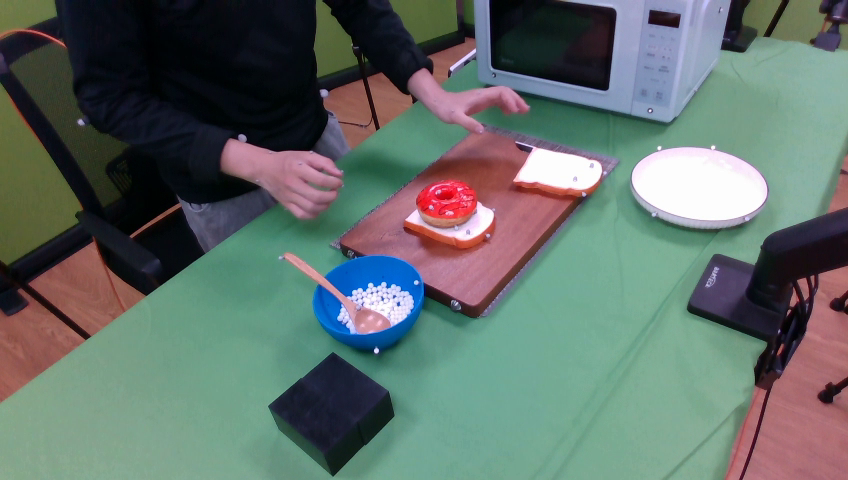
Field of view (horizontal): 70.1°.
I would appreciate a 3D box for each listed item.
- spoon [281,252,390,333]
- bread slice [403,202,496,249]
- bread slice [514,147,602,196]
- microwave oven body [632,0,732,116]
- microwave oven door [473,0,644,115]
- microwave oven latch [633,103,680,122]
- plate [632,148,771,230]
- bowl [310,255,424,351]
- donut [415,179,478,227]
[{"bbox_3d":[-0.122,0.070,0.811,0.193,0.022,0.042,38,64,16],"label":"spoon"},{"bbox_3d":[0.048,-0.034,0.961,0.130,0.019,0.105,22,49,32],"label":"bread slice"},{"bbox_3d":[0.233,-0.115,1.027,0.133,0.018,0.107,13,45,20],"label":"bread slice"},{"bbox_3d":[0.377,-0.462,1.267,0.438,0.261,0.327,21,49,30],"label":"microwave oven body"},{"bbox_3d":[0.257,-0.396,1.199,0.353,0.245,0.039,21,48,29],"label":"microwave oven door"},{"bbox_3d":[0.444,-0.249,1.157,0.078,0.029,0.030,21,49,30],"label":"microwave oven latch"},{"bbox_3d":[0.447,-0.081,0.988,0.207,0.039,0.206,-4,40,4],"label":"plate"},{"bbox_3d":[-0.071,0.098,0.821,0.151,0.077,0.150,-4,40,4],"label":"bowl"},{"bbox_3d":[0.036,-0.058,0.944,0.099,0.048,0.098,-5,40,4],"label":"donut"}]
